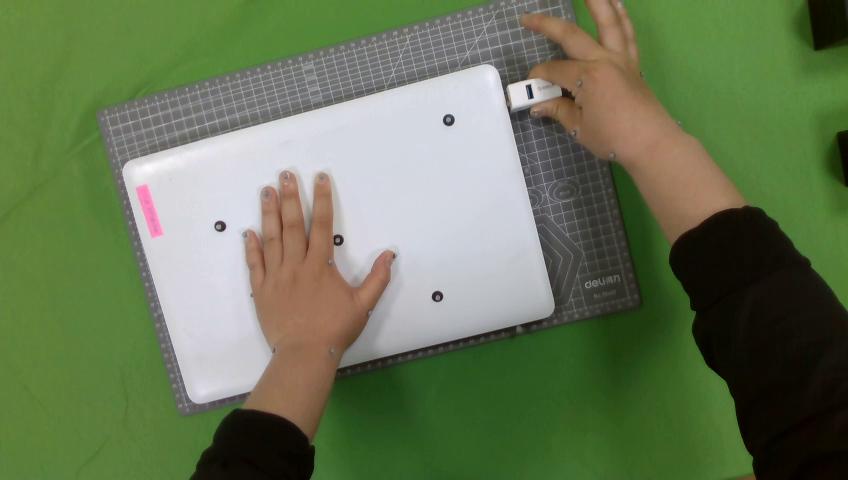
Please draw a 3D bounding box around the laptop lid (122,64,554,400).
[{"bbox_3d":[-0.078,0.000,0.551,0.356,0.013,0.242,-13,96,4],"label":"laptop lid"}]

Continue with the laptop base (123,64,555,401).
[{"bbox_3d":[-0.078,-0.003,0.560,0.354,0.023,0.236,-15,97,3],"label":"laptop base"}]

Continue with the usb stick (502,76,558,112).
[{"bbox_3d":[0.086,-0.128,0.535,0.059,0.027,0.021,-10,88,0],"label":"usb stick"}]
